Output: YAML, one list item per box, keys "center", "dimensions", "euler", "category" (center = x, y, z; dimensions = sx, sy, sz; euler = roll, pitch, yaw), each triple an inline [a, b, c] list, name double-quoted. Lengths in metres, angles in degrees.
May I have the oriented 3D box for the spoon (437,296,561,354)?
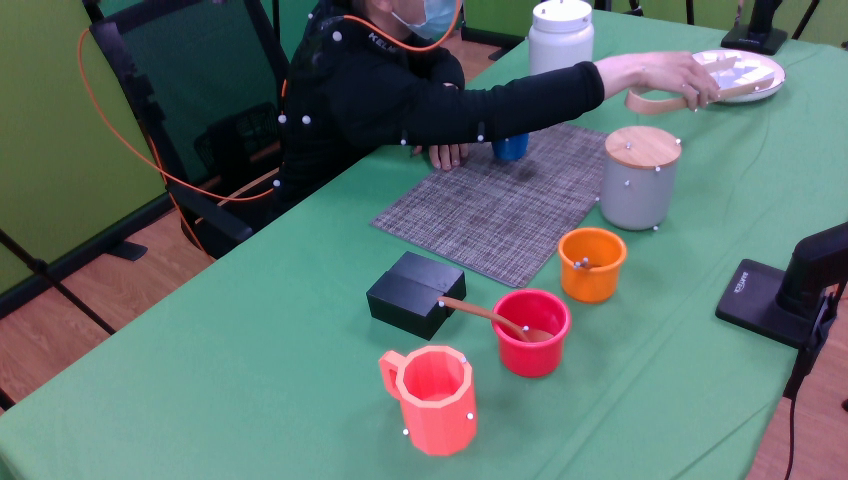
- center: [0.096, 0.102, 0.750]
  dimensions: [0.195, 0.021, 0.041]
  euler: [28, 31, -28]
  category: "spoon"

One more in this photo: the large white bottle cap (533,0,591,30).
- center: [0.275, -0.449, 1.204]
  dimensions: [0.115, 0.018, 0.114]
  euler: [-4, 41, 4]
  category: "large white bottle cap"

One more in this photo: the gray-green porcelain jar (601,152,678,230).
- center: [0.335, -0.087, 0.949]
  dimensions: [0.106, 0.127, 0.105]
  euler: [-4, 40, 4]
  category: "gray-green porcelain jar"

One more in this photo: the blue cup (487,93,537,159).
- center: [0.160, -0.209, 1.129]
  dimensions: [0.092, 0.100, 0.092]
  euler: [-3, 38, 3]
  category: "blue cup"

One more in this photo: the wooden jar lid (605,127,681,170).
- center: [0.327, -0.134, 0.909]
  dimensions: [0.108, 0.021, 0.108]
  euler: [-2, 43, 2]
  category: "wooden jar lid"

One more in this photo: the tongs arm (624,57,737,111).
- center: [0.497, -0.298, 1.134]
  dimensions: [0.387, 0.026, 0.050]
  euler: [-20, 48, -31]
  category: "tongs arm"

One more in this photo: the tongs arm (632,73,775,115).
- center: [0.525, -0.270, 1.105]
  dimensions: [0.390, 0.028, 0.028]
  euler: [-17, 51, -28]
  category: "tongs arm"

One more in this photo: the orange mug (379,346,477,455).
- center: [0.002, 0.179, 0.708]
  dimensions: [0.125, 0.101, 0.083]
  euler: [25, 50, 27]
  category: "orange mug"

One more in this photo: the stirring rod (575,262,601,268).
- center: [0.223, 0.034, 0.816]
  dimensions: [0.014, 0.006, 0.177]
  euler: [8, 1, 22]
  category: "stirring rod"

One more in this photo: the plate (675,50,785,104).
- center: [0.632, -0.336, 1.262]
  dimensions: [0.207, 0.039, 0.206]
  euler: [-4, 40, 4]
  category: "plate"

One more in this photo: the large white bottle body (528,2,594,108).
- center: [0.283, -0.386, 1.259]
  dimensions: [0.130, 0.185, 0.130]
  euler: [-4, 41, 4]
  category: "large white bottle body"
